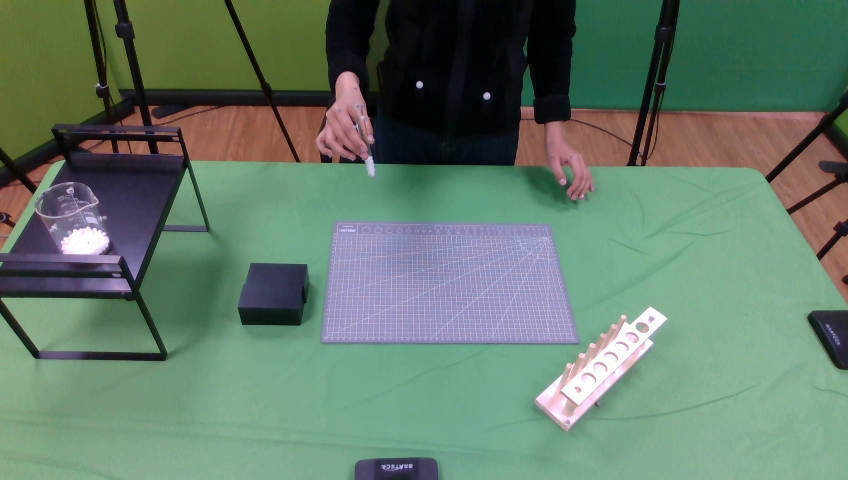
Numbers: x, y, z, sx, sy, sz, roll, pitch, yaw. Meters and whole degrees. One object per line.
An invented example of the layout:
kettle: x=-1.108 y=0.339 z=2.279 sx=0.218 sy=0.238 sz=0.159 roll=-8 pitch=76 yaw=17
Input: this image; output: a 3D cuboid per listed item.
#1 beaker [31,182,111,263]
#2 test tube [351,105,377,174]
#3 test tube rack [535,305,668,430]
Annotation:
beaker: x=-0.502 y=-0.022 z=0.877 sx=0.084 sy=0.101 sz=0.073 roll=-2 pitch=47 yaw=-7
test tube: x=-0.102 y=-0.170 z=1.048 sx=0.017 sy=0.151 sz=0.017 roll=-5 pitch=50 yaw=6
test tube rack: x=0.290 y=0.193 z=0.984 sx=0.242 sy=0.085 sz=0.066 roll=-32 pitch=56 yaw=-30
